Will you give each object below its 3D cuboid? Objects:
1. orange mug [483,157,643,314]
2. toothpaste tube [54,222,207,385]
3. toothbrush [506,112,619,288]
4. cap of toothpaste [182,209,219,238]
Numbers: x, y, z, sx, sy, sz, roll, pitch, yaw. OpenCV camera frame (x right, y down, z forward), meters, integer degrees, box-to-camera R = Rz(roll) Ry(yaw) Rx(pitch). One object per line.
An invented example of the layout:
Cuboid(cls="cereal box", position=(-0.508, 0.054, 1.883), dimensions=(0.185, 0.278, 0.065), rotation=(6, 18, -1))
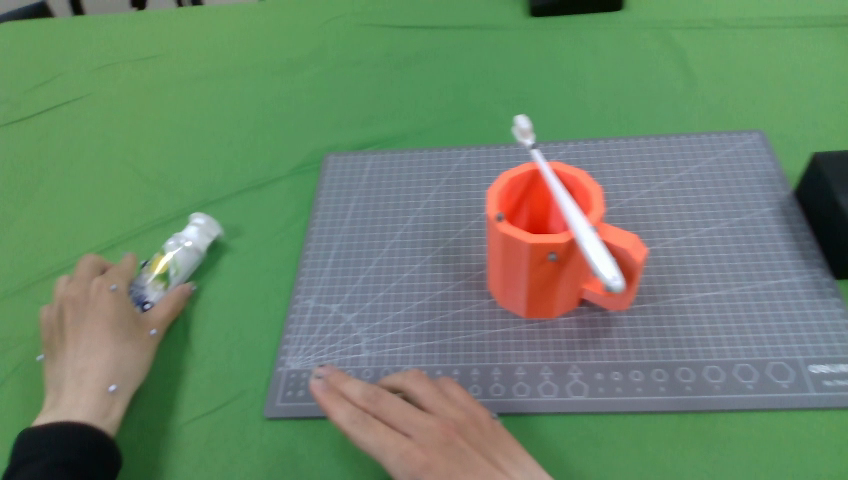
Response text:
Cuboid(cls="orange mug", position=(0.104, 0.004, 0.473), dimensions=(0.125, 0.102, 0.083), rotation=(21, 56, 28))
Cuboid(cls="toothpaste tube", position=(-0.249, 0.046, 0.531), dimensions=(0.054, 0.035, 0.164), rotation=(15, 57, 27))
Cuboid(cls="toothbrush", position=(0.096, -0.036, 0.439), dimensions=(0.014, 0.017, 0.180), rotation=(-14, 50, -8))
Cuboid(cls="cap of toothpaste", position=(-0.211, -0.014, 0.569), dimensions=(0.037, 0.038, 0.011), rotation=(10, 51, 15))
